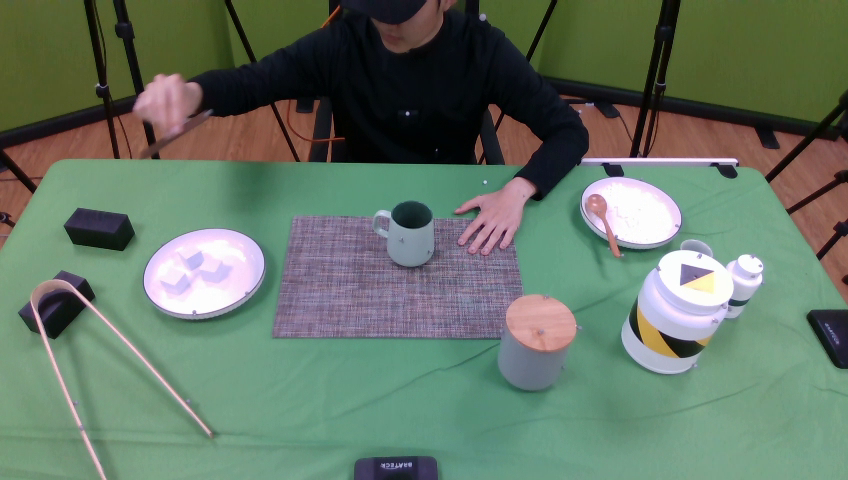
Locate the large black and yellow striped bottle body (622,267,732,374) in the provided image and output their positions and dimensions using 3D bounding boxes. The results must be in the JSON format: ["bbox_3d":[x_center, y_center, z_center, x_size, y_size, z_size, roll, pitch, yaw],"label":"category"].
[{"bbox_3d":[0.415,0.119,0.997,0.131,0.185,0.130,2,46,-2],"label":"large black and yellow striped bottle body"}]

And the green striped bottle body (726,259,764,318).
[{"bbox_3d":[0.563,0.081,1.089,0.063,0.120,0.063,2,46,-2],"label":"green striped bottle body"}]

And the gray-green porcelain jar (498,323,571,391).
[{"bbox_3d":[0.176,0.172,0.971,0.106,0.127,0.105,2,46,-2],"label":"gray-green porcelain jar"}]

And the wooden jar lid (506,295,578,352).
[{"bbox_3d":[0.179,0.130,0.925,0.108,0.021,0.107,2,43,-2],"label":"wooden jar lid"}]

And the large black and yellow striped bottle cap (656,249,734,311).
[{"bbox_3d":[0.419,0.061,0.938,0.115,0.019,0.114,2,47,-2],"label":"large black and yellow striped bottle cap"}]

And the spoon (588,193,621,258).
[{"bbox_3d":[0.367,-0.032,1.220,0.041,0.022,0.192,1,38,-1],"label":"spoon"}]

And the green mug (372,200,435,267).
[{"bbox_3d":[-0.040,-0.016,1.146,0.125,0.105,0.092,17,48,13],"label":"green mug"}]

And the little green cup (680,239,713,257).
[{"bbox_3d":[0.530,0.033,1.189,0.061,0.039,0.061,2,48,-3],"label":"little green cup"}]

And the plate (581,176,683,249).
[{"bbox_3d":[0.430,-0.054,1.267,0.209,0.038,0.208,2,46,-2],"label":"plate"}]

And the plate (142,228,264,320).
[{"bbox_3d":[-0.394,0.064,1.095,0.208,0.039,0.206,2,46,-2],"label":"plate"}]

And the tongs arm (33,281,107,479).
[{"bbox_3d":[-0.517,0.214,0.910,0.051,0.026,0.383,-28,63,-27],"label":"tongs arm"}]

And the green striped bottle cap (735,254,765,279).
[{"bbox_3d":[0.566,0.046,1.051,0.044,0.020,0.044,0,45,0],"label":"green striped bottle cap"}]

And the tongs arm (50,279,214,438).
[{"bbox_3d":[-0.459,0.178,0.949,0.386,0.028,0.028,37,60,17],"label":"tongs arm"}]

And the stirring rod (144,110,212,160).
[{"bbox_3d":[-0.404,-0.170,0.989,0.176,0.014,0.006,-22,3,29],"label":"stirring rod"}]
